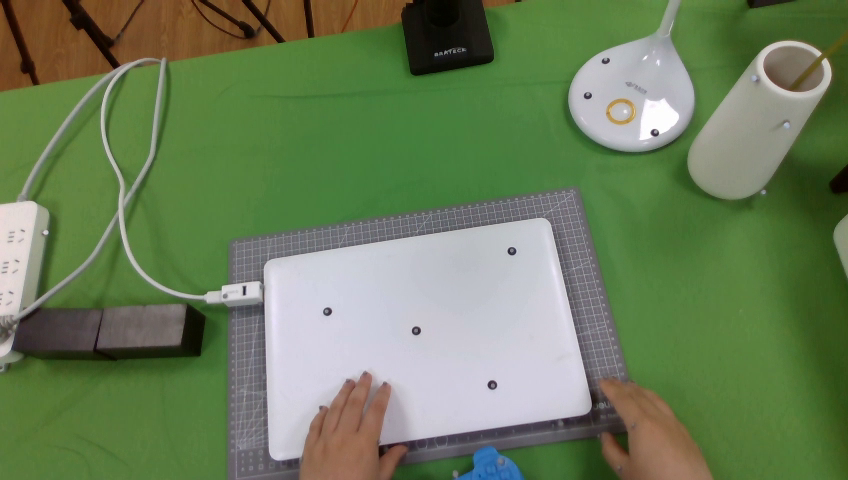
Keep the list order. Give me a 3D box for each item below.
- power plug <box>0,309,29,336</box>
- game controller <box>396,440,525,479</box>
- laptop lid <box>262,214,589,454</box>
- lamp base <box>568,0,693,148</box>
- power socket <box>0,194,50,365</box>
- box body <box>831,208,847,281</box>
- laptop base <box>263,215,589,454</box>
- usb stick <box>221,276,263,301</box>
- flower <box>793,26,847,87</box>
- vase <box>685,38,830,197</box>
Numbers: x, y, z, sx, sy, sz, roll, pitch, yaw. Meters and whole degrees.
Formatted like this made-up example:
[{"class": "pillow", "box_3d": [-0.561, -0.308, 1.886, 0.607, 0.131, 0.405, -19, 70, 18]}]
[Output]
[{"class": "power plug", "box_3d": [-0.492, 0.101, 0.713, 0.072, 0.053, 0.035, 6, 67, 6]}, {"class": "game controller", "box_3d": [0.034, 0.270, 0.613, 0.155, 0.052, 0.096, -22, 62, -5]}, {"class": "laptop lid", "box_3d": [-0.009, 0.100, 0.690, 0.357, 0.013, 0.240, -7, 69, 2]}, {"class": "lamp base", "box_3d": [0.268, -0.232, 0.729, 0.160, 0.181, 0.178, 23, 69, 14]}, {"class": "power socket", "box_3d": [-0.526, 0.043, 0.762, 0.072, 0.033, 0.225, -6, 67, 2]}, {"class": "box body", "box_3d": [0.597, 0.091, 0.576, 0.254, 0.161, 0.361, -7, 67, 2]}, {"class": "laptop base", "box_3d": [-0.008, 0.102, 0.701, 0.354, 0.023, 0.234, -9, 70, 1]}, {"class": "usb stick", "box_3d": [-0.209, 0.057, 0.723, 0.059, 0.027, 0.021, -5, 67, -3]}, {"class": "flower", "box_3d": [0.373, -0.164, 0.592, 0.038, 0.364, 0.043, 5, 58, -11]}, {"class": "vase", "box_3d": [0.360, -0.129, 0.668, 0.098, 0.201, 0.097, -2, 65, 6]}]
